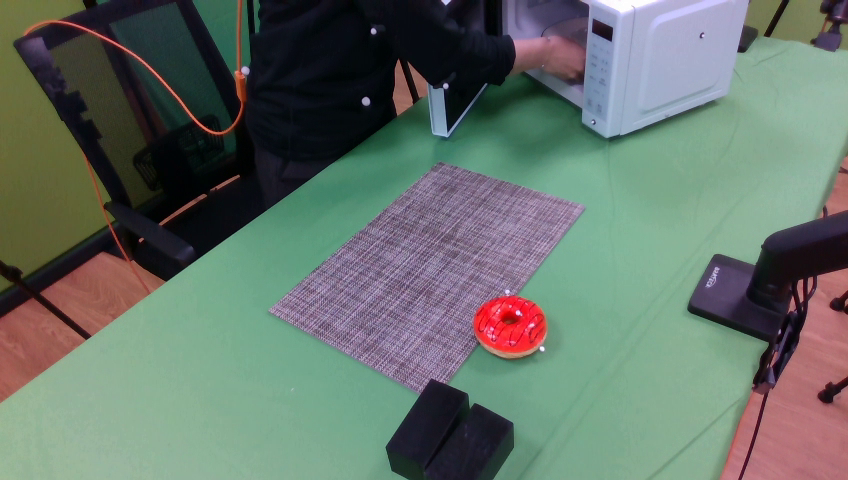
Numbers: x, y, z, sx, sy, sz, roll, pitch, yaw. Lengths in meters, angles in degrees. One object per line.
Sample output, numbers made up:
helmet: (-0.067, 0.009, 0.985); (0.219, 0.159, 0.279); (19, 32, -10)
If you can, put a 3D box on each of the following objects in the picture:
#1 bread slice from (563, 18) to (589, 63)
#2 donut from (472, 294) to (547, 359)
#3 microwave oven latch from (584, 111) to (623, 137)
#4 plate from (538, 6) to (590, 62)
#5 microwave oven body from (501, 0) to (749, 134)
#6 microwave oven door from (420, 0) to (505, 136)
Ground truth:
bread slice: (0.364, -0.438, 1.324); (0.104, 0.019, 0.131); (11, 61, 19)
donut: (0.114, 0.114, 0.803); (0.099, 0.048, 0.098); (0, 40, 1)
microwave oven latch: (0.337, -0.222, 1.142); (0.030, 0.029, 0.078); (-21, 42, -14)
plate: (0.353, -0.442, 1.315); (0.207, 0.039, 0.206); (-8, 44, 9)
microwave oven body: (0.382, -0.444, 1.246); (0.327, 0.261, 0.437); (-22, 42, -16)
microwave oven door: (0.090, -0.409, 1.237); (0.039, 0.245, 0.356); (12, 44, 21)
